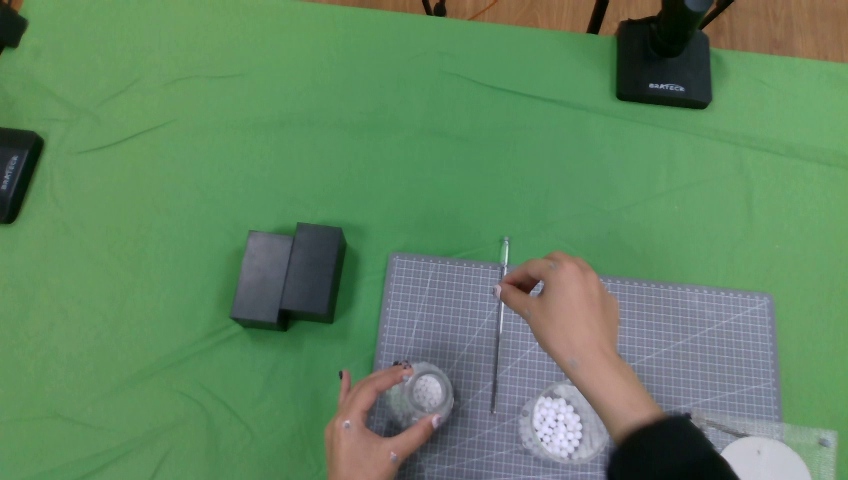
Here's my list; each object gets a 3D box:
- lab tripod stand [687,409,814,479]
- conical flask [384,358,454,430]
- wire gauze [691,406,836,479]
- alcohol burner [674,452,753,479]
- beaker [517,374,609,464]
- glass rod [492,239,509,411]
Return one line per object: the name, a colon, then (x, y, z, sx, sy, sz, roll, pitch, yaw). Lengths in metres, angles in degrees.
lab tripod stand: (0.287, 0.235, 0.575, 0.148, 0.132, 0.147, 0, 73, 0)
conical flask: (-0.001, 0.150, 0.597, 0.075, 0.122, 0.075, 2, 73, -5)
wire gauze: (0.288, 0.211, 0.511, 0.125, 0.011, 0.121, 9, 73, 3)
alcohol burner: (0.288, 0.244, 0.582, 0.078, 0.120, 0.077, -1, 71, 2)
beaker: (0.135, 0.181, 0.609, 0.074, 0.101, 0.083, 17, 71, 5)
glass rod: (0.087, 0.092, 0.686, 0.008, 0.008, 0.198, 6, 71, 1)
